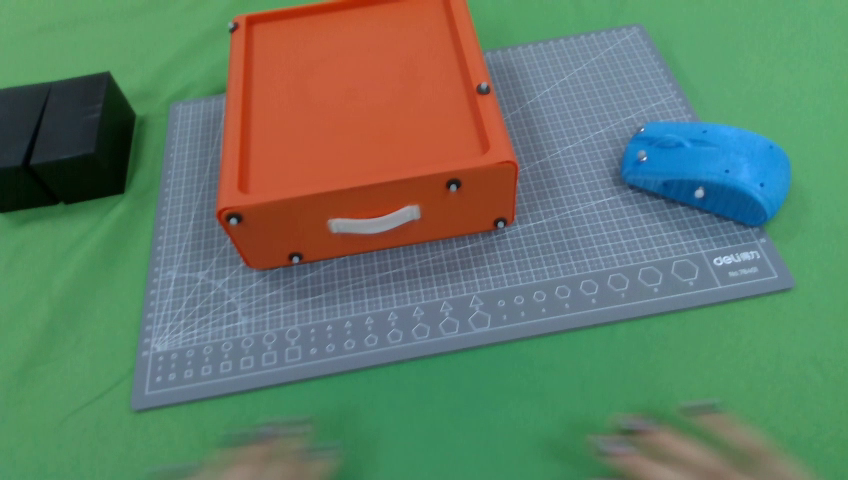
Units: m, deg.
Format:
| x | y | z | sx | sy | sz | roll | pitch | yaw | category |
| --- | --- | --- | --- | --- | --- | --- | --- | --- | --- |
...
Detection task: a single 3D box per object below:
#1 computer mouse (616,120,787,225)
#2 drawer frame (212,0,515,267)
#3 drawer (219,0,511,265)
| x | y | z | sx | sy | sz | roll | pitch | yaw | category |
| --- | --- | --- | --- | --- | --- | --- | --- | --- | --- |
| 0.206 | -0.057 | 0.451 | 0.116 | 0.041 | 0.062 | 21 | 62 | 24 | computer mouse |
| -0.051 | -0.097 | 0.476 | 0.202 | 0.083 | 0.211 | -10 | 54 | -1 | drawer frame |
| -0.050 | -0.095 | 0.476 | 0.194 | 0.074 | 0.209 | -10 | 54 | -1 | drawer |
